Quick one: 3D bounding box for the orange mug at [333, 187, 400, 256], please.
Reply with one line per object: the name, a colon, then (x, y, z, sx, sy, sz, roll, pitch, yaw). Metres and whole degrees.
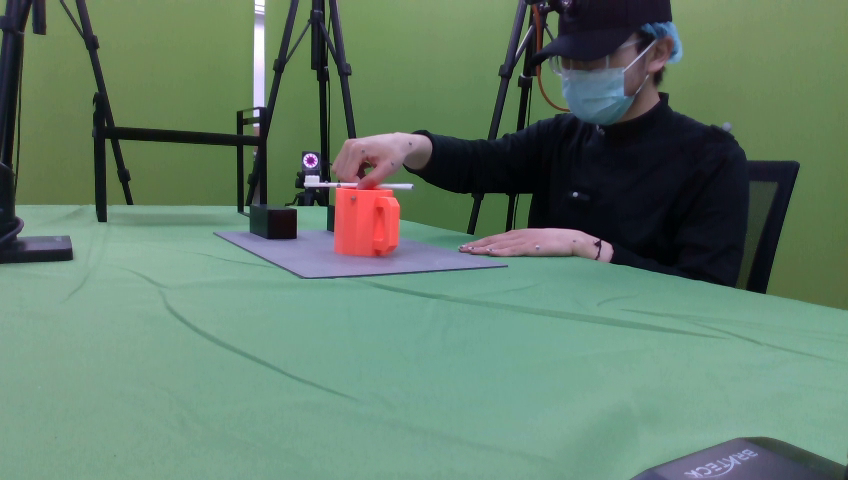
orange mug: (-0.080, -0.029, 0.888, 0.084, 0.100, 0.125, -3, 5, -40)

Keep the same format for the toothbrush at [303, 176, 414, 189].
toothbrush: (-0.096, -0.087, 0.922, 0.183, 0.016, 0.014, -1, 8, -30)
